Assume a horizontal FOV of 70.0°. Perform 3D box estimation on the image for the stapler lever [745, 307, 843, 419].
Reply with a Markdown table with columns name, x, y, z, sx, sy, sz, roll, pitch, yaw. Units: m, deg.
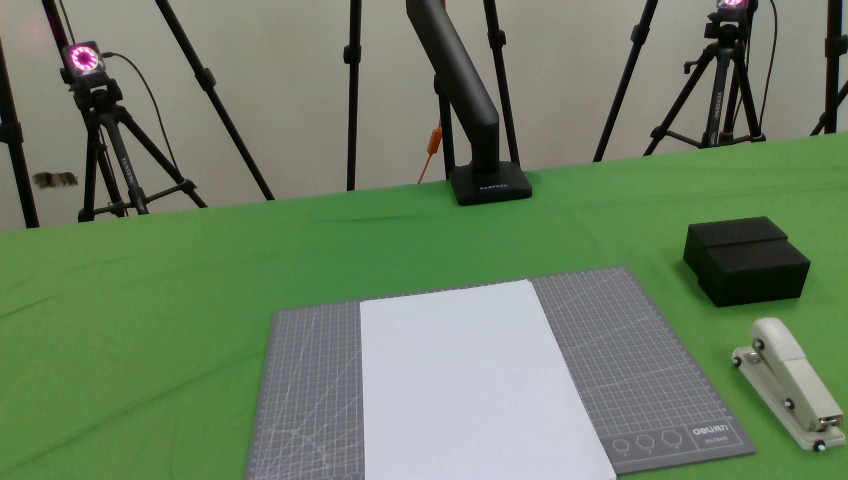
| name | x | y | z | sx | sy | sz | roll | pitch | yaw |
| --- | --- | --- | --- | --- | --- | --- | --- | --- | --- |
| stapler lever | 0.340 | 0.109 | 0.561 | 0.027 | 0.040 | 0.117 | -9 | 35 | -3 |

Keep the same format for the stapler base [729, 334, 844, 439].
| name | x | y | z | sx | sy | sz | roll | pitch | yaw |
| --- | --- | --- | --- | --- | --- | --- | --- | --- | --- |
| stapler base | 0.341 | 0.129 | 0.576 | 0.041 | 0.024 | 0.129 | -9 | 34 | -3 |
